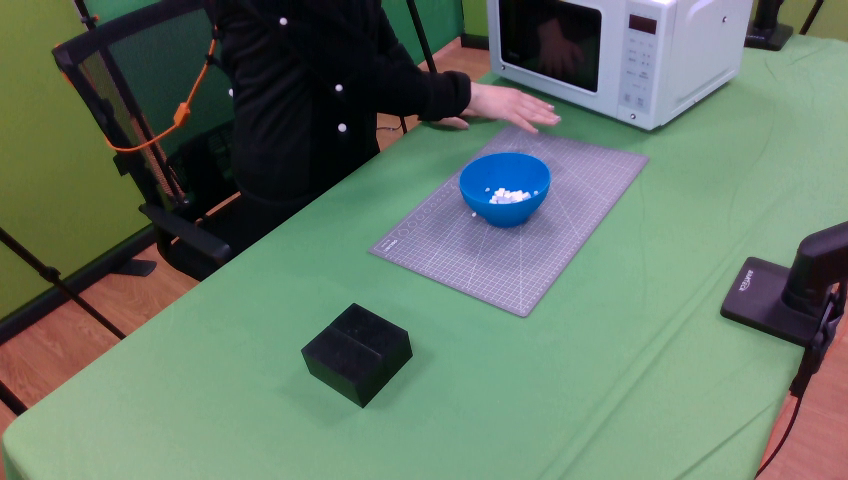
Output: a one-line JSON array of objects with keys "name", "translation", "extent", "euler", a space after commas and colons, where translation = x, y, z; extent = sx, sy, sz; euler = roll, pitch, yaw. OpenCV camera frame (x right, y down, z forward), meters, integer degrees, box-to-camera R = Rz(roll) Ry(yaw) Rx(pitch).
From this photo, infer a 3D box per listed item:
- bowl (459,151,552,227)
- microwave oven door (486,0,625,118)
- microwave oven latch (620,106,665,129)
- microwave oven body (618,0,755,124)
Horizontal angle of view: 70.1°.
[{"name": "bowl", "translation": [0.136, -0.074, 1.000], "extent": [0.151, 0.077, 0.150], "euler": [-5, 40, 5]}, {"name": "microwave oven door", "translation": [0.262, -0.409, 1.221], "extent": [0.039, 0.245, 0.352], "euler": [-33, 45, -25]}, {"name": "microwave oven latch", "translation": [0.412, -0.237, 1.146], "extent": [0.030, 0.029, 0.078], "euler": [-32, 44, -23]}, {"name": "microwave oven body", "translation": [0.402, -0.458, 1.259], "extent": [0.327, 0.261, 0.437], "euler": [-33, 45, -24]}]
